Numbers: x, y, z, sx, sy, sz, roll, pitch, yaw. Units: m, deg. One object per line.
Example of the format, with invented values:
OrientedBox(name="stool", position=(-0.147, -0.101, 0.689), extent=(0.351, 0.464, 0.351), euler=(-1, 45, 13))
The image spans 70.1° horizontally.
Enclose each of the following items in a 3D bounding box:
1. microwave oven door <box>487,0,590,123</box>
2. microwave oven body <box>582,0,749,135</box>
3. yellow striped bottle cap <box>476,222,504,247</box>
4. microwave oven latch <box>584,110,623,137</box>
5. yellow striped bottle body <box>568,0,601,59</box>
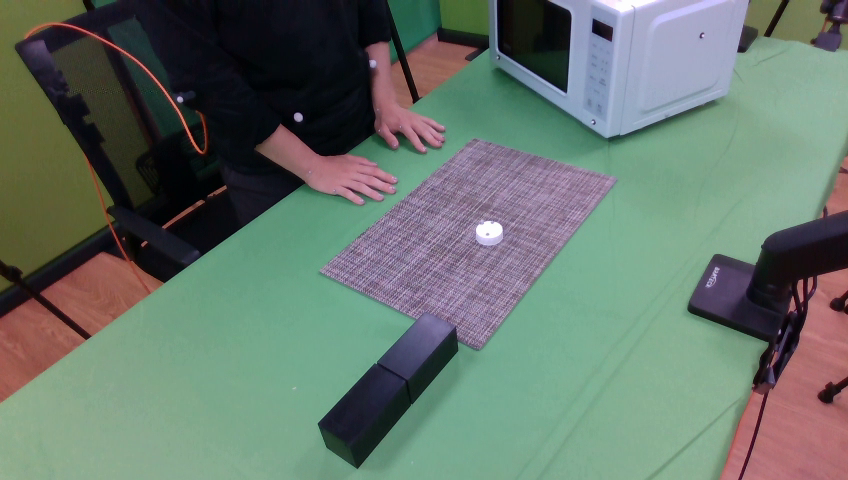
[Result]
OrientedBox(name="microwave oven door", position=(0.232, -0.420, 1.230), extent=(0.039, 0.245, 0.352), euler=(-22, 43, -16))
OrientedBox(name="microwave oven body", position=(0.382, -0.444, 1.246), extent=(0.327, 0.261, 0.437), euler=(-22, 42, -16))
OrientedBox(name="yellow striped bottle cap", position=(0.105, -0.010, 0.966), extent=(0.044, 0.019, 0.044), euler=(-3, 39, 3))
OrientedBox(name="microwave oven latch", position=(0.337, -0.222, 1.142), extent=(0.030, 0.029, 0.078), euler=(-21, 42, -14))
OrientedBox(name="yellow striped bottle body", position=(0.336, -0.448, 1.268), extent=(0.063, 0.121, 0.062), euler=(-4, 43, 5))
